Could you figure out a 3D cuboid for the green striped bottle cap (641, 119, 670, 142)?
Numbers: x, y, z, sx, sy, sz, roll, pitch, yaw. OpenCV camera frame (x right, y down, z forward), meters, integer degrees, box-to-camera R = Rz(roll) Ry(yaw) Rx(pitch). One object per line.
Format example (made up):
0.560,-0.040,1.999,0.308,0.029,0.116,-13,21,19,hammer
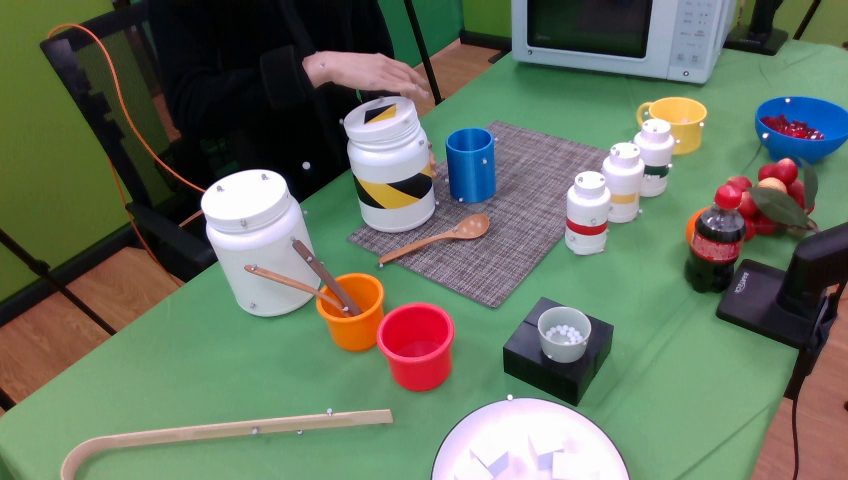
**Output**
0.371,-0.175,0.968,0.044,0.020,0.044,-6,41,6,green striped bottle cap

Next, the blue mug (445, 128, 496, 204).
0.083,-0.139,1.058,0.082,0.106,0.116,-2,40,7,blue mug

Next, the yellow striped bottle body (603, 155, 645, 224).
0.314,-0.090,0.957,0.063,0.121,0.062,-4,40,4,yellow striped bottle body

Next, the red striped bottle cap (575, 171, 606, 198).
0.242,-0.081,0.876,0.044,0.018,0.044,-5,44,5,red striped bottle cap

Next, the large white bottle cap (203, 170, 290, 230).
-0.242,-0.057,0.822,0.115,0.018,0.114,-4,41,4,large white bottle cap

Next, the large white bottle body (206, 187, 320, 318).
-0.233,0.008,0.876,0.130,0.185,0.130,-4,40,4,large white bottle body

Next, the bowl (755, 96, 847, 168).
0.645,-0.177,1.041,0.151,0.077,0.150,-5,40,4,bowl

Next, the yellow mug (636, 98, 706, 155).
0.453,-0.217,1.128,0.100,0.064,0.129,-34,46,-27,yellow mug

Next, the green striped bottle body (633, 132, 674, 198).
0.376,-0.135,1.001,0.063,0.120,0.063,-5,40,5,green striped bottle body

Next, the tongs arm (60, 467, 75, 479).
-0.239,0.301,0.648,0.386,0.028,0.028,6,49,16,tongs arm

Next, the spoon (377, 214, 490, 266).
0.015,0.002,0.966,0.194,0.022,0.041,-19,63,-12,spoon

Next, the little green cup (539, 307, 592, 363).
0.168,0.115,0.721,0.061,0.039,0.061,-4,42,4,little green cup

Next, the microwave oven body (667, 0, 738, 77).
0.462,-0.552,1.369,0.439,0.261,0.326,15,45,26,microwave oven body

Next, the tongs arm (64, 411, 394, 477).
-0.228,0.241,0.715,0.385,0.026,0.050,-5,43,4,tongs arm

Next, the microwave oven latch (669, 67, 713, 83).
0.556,-0.349,1.261,0.078,0.029,0.030,16,46,27,microwave oven latch

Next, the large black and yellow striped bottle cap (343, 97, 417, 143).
-0.068,-0.188,0.936,0.115,0.019,0.114,-10,38,8,large black and yellow striped bottle cap

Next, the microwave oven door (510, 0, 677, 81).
0.354,-0.478,1.290,0.353,0.245,0.039,15,45,25,microwave oven door

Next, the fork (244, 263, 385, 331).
-0.142,0.077,0.807,0.209,0.018,0.028,30,44,-24,fork

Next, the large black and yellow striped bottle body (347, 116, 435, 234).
-0.054,-0.118,0.992,0.131,0.185,0.130,-5,40,4,large black and yellow striped bottle body

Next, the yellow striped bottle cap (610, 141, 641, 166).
0.308,-0.131,0.925,0.044,0.019,0.044,-4,46,4,yellow striped bottle cap

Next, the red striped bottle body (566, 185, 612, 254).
0.248,-0.041,0.910,0.063,0.120,0.062,-4,41,4,red striped bottle body

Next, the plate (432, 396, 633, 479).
0.112,0.261,0.634,0.209,0.038,0.208,-5,40,4,plate

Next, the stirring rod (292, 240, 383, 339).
-0.118,0.068,0.826,0.176,0.006,0.014,49,59,-4,stirring rod
